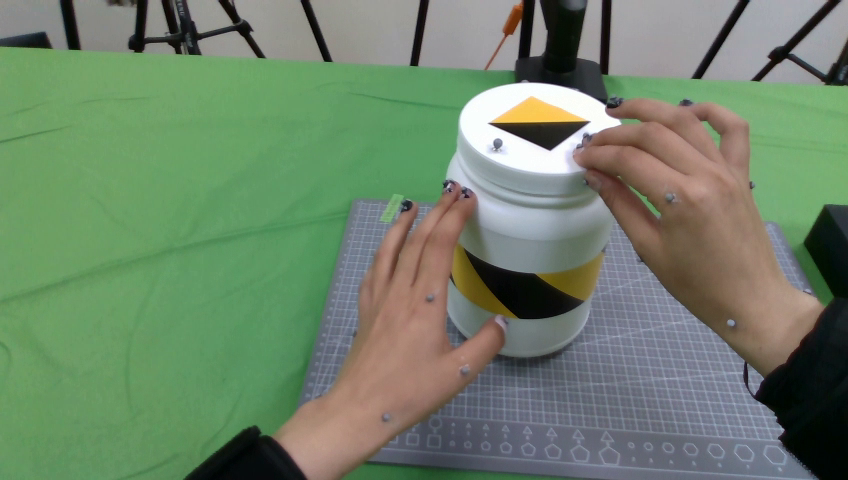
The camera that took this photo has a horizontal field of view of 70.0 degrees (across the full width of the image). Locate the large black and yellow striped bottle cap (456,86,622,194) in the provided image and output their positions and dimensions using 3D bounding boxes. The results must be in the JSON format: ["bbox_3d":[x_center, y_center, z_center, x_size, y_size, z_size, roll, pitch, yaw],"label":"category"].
[{"bbox_3d":[0.080,-0.074,0.426,0.115,0.019,0.114,2,43,-1],"label":"large black and yellow striped bottle cap"}]

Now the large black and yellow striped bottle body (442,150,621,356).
[{"bbox_3d":[0.081,-0.010,0.487,0.131,0.185,0.129,0,43,0],"label":"large black and yellow striped bottle body"}]
